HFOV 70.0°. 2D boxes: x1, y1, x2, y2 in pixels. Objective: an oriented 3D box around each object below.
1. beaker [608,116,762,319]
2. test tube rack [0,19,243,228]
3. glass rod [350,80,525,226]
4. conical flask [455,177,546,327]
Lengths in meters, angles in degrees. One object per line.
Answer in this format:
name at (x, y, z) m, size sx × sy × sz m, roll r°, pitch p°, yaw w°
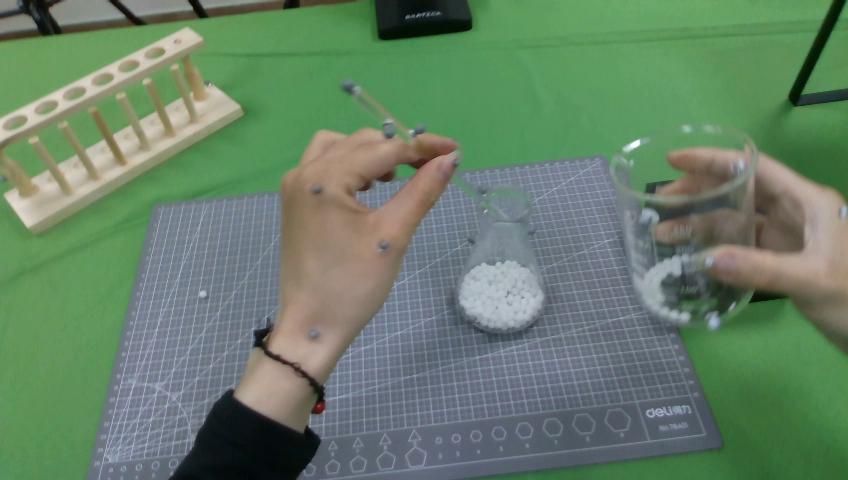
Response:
beaker at (0.150, -0.011, 0.355) m, size 0.074 × 0.101 × 0.083 m, roll -37°, pitch 36°, yaw -20°
test tube rack at (-0.314, -0.123, 0.614) m, size 0.242 × 0.086 × 0.066 m, roll -38°, pitch 59°, yaw -23°
glass rod at (0.020, -0.043, 0.365) m, size 0.008 × 0.202 × 0.008 m, roll -12°, pitch 65°, yaw 29°
conical flask at (0.059, 0.007, 0.459) m, size 0.075 × 0.123 × 0.074 m, roll -2°, pitch 52°, yaw 3°
